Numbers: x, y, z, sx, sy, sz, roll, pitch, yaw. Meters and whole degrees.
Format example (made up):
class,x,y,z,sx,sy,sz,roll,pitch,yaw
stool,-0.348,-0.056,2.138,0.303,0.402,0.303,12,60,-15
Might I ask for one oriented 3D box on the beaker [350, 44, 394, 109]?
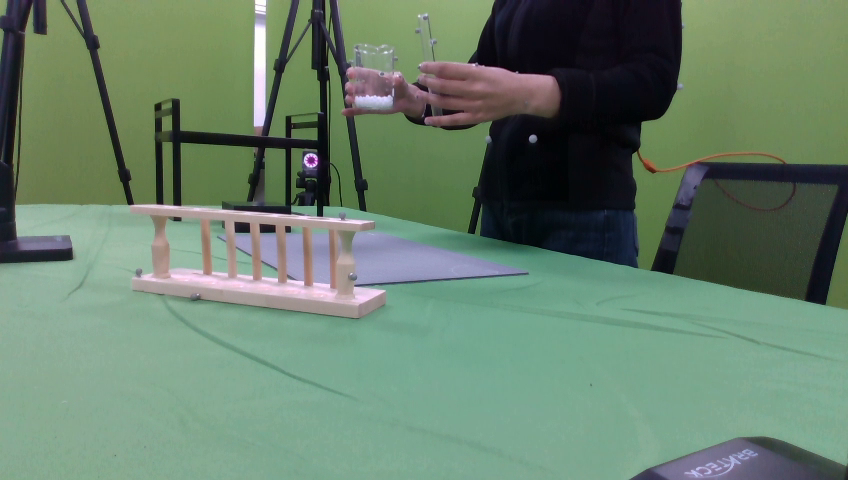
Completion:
class,x,y,z,sx,sy,sz,roll,pitch,yaw
beaker,-0.087,-0.276,1.026,0.074,0.100,0.083,-2,9,-14

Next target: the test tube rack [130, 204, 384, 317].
class,x,y,z,sx,sy,sz,roll,pitch,yaw
test tube rack,-0.163,0.013,0.589,0.242,0.085,0.067,5,8,17

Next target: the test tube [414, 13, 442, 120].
class,x,y,z,sx,sy,sz,roll,pitch,yaw
test tube,0.007,-0.246,0.865,0.017,0.150,0.017,-9,22,4
